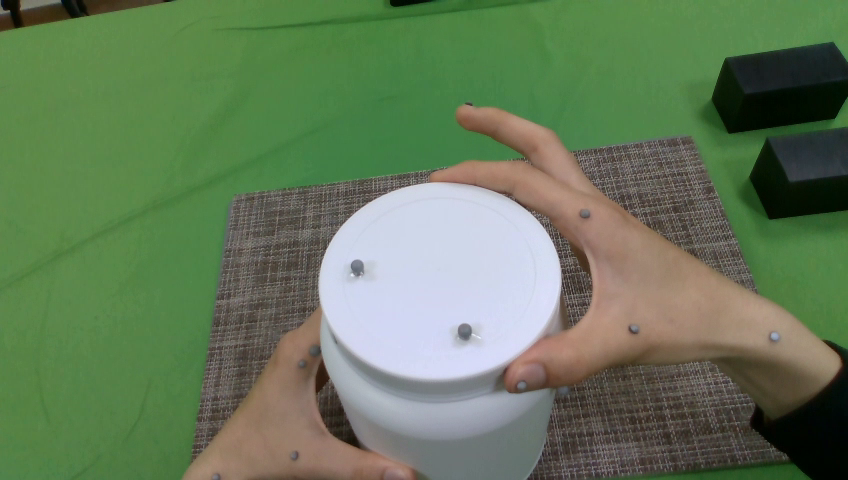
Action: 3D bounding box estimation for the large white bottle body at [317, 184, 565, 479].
[{"bbox_3d":[0.012,0.067,0.356,0.130,0.186,0.129,-2,52,3],"label":"large white bottle body"}]

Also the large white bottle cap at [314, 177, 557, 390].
[{"bbox_3d":[0.005,0.016,0.289,0.115,0.018,0.113,-2,52,2],"label":"large white bottle cap"}]
